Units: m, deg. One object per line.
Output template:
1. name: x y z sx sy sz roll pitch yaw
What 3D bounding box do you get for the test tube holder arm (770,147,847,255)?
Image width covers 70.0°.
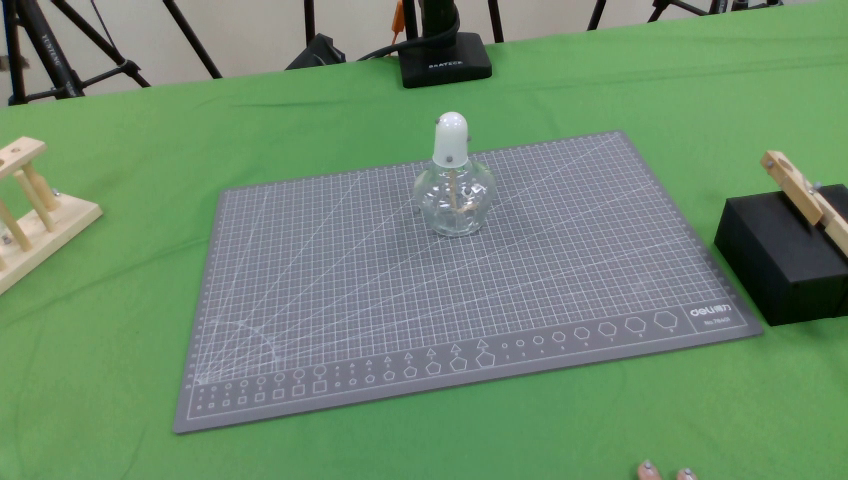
1. test tube holder arm: 0.312 -0.017 0.469 0.013 0.015 0.176 -1 43 -7

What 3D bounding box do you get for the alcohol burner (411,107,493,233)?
1. alcohol burner: 0.024 -0.066 0.553 0.078 0.120 0.077 -4 41 4

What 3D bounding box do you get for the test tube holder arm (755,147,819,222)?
1. test tube holder arm: 0.302 -0.047 0.501 0.010 0.015 0.087 -1 43 -7

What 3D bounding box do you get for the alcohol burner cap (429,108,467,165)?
1. alcohol burner cap: 0.022 -0.092 0.528 0.034 0.048 0.033 1 42 0

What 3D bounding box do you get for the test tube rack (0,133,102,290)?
1. test tube rack: -0.430 0.006 0.555 0.066 0.086 0.241 16 47 22

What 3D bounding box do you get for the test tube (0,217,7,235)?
1. test tube: -0.432 -0.064 0.558 0.017 0.152 0.017 -5 40 4
